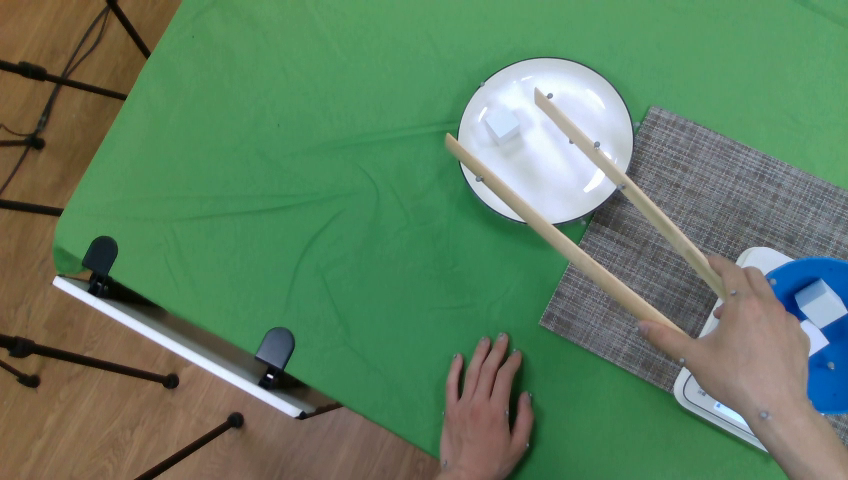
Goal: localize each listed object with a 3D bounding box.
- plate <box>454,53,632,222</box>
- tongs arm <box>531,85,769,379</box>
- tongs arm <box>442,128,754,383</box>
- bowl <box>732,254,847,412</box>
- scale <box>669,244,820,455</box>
[{"bbox_3d":[0.140,-0.120,0.732,0.207,0.039,0.207,-1,81,7],"label":"plate"},{"bbox_3d":[0.199,-0.032,0.605,0.051,0.027,0.380,-25,56,-14],"label":"tongs arm"},{"bbox_3d":[0.141,-0.001,0.589,0.028,0.028,0.383,-32,58,-22],"label":"tongs arm"},{"bbox_3d":[0.382,0.093,0.615,0.151,0.077,0.151,-1,82,6],"label":"bowl"},{"bbox_3d":[0.379,0.118,0.665,0.148,0.032,0.200,28,86,10],"label":"scale"}]
